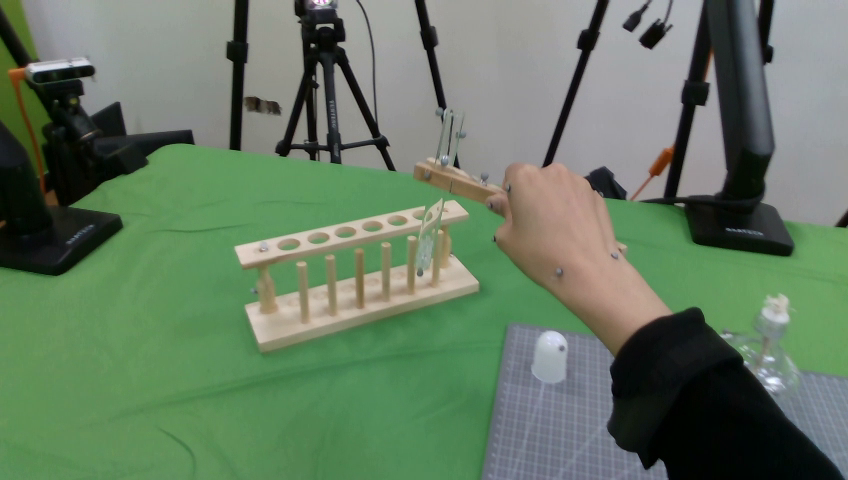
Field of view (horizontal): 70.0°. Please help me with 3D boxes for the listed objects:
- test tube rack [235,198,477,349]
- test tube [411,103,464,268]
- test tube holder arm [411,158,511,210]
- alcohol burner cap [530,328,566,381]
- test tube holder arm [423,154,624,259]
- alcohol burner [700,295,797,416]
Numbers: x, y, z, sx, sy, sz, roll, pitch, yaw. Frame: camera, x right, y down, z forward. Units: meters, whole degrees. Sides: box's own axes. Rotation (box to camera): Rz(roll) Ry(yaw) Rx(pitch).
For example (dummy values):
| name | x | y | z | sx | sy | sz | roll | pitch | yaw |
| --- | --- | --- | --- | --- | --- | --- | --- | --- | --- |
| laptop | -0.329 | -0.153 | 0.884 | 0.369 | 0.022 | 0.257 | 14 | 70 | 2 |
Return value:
| name | x | y | z | sx | sy | sz | roll | pitch | yaw |
| --- | --- | --- | --- | --- | --- | --- | --- | --- | --- |
| test tube rack | -0.063 | 0.029 | 0.632 | 0.243 | 0.086 | 0.066 | -13 | 36 | -22 |
| test tube | 0.009 | -0.040 | 0.497 | 0.017 | 0.151 | 0.017 | 9 | 32 | -5 |
| test tube holder arm | 0.029 | -0.045 | 0.473 | 0.087 | 0.015 | 0.010 | 23 | 33 | 23 |
| alcohol burner cap | 0.117 | 0.103 | 0.562 | 0.034 | 0.048 | 0.033 | 2 | 34 | -1 |
| test tube holder arm | 0.068 | -0.029 | 0.456 | 0.177 | 0.015 | 0.013 | 28 | 36 | 30 |
| alcohol burner | 0.283 | 0.093 | 0.519 | 0.078 | 0.120 | 0.077 | 2 | 35 | -1 |
